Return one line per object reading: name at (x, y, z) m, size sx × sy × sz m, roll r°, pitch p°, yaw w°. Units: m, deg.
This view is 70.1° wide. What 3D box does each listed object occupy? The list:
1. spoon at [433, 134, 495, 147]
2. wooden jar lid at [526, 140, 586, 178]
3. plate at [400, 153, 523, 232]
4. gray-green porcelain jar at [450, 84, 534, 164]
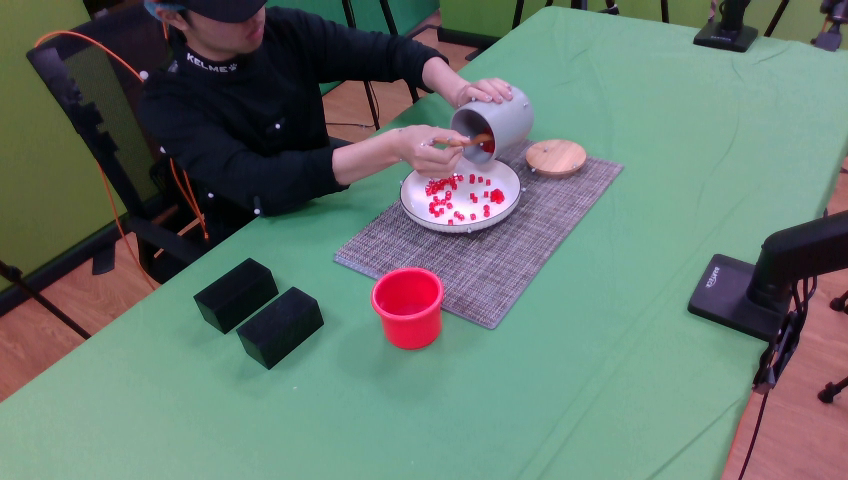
spoon at (0.072, -0.163, 0.997) m, size 0.041 × 0.021 × 0.195 m, roll 13°, pitch 18°, yaw 32°
wooden jar lid at (0.240, -0.147, 1.103) m, size 0.108 × 0.021 × 0.108 m, roll -4°, pitch 42°, yaw 4°
plate at (0.064, -0.078, 1.034) m, size 0.207 × 0.039 × 0.206 m, roll -4°, pitch 41°, yaw 4°
gray-green porcelain jar at (0.124, -0.208, 1.062) m, size 0.105 × 0.106 × 0.127 m, roll 26°, pitch 48°, yaw 33°
